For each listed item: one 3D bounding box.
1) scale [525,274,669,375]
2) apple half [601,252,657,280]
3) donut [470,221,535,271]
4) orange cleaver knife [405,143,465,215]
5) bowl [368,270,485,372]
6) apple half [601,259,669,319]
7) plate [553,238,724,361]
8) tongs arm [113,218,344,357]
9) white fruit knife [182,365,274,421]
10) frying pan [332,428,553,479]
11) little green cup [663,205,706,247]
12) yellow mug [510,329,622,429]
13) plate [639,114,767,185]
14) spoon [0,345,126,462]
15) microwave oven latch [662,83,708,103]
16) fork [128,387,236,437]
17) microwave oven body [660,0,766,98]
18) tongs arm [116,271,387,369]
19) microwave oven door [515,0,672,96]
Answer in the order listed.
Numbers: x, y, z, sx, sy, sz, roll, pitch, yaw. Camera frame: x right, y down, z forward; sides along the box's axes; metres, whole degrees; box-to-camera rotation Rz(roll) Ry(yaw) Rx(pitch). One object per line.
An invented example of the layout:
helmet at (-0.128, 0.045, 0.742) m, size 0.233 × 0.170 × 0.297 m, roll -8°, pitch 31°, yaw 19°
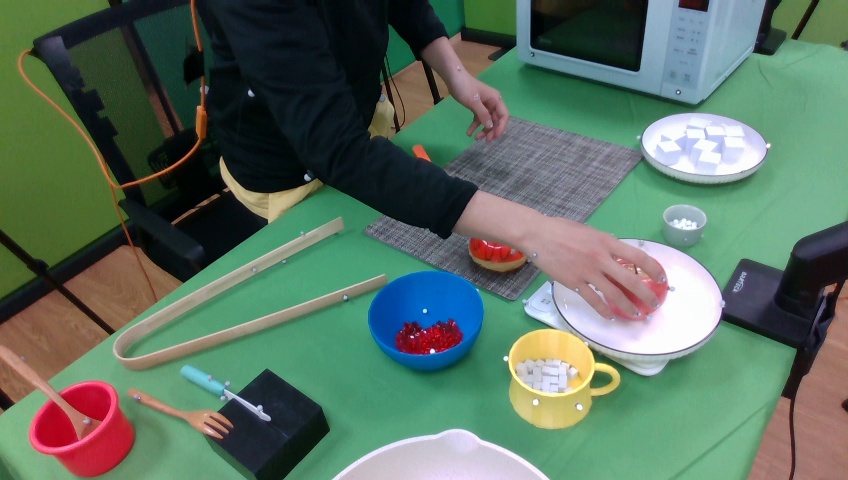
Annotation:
scale at (0.254, 0.092, 0.821) m, size 0.199 × 0.032 × 0.149 m, roll 28°, pitch 51°, yaw 35°
apple half at (0.263, 0.042, 0.784) m, size 0.081 × 0.081 × 0.032 m, roll -8°, pitch 43°, yaw -1°
donut at (0.120, 0.008, 0.923) m, size 0.099 × 0.048 × 0.098 m, roll -4°, pitch 39°, yaw 4°
orange cleaver knife at (0.005, -0.113, 1.102) m, size 0.077 × 0.012 × 0.209 m, roll -24°, pitch 45°, yaw -9°
bowl at (0.007, 0.119, 0.791) m, size 0.151 × 0.077 × 0.150 m, roll -5°, pitch 39°, yaw 4°
apple half at (0.267, 0.068, 0.756) m, size 0.081 × 0.075 × 0.053 m, roll -6°, pitch 43°, yaw -2°
plate at (0.273, 0.078, 0.783) m, size 0.209 × 0.038 × 0.208 m, roll -4°, pitch 41°, yaw 4°
tongs arm at (-0.280, 0.067, 0.927) m, size 0.386 × 0.026 × 0.050 m, roll -28°, pitch 47°, yaw -23°
white fruit knife at (-0.245, 0.188, 0.747) m, size 0.205 × 0.027 × 0.016 m, roll 9°, pitch 40°, yaw 40°
frying pan at (-0.089, 0.306, 0.564) m, size 0.487 × 0.103 × 0.306 m, roll 10°, pitch 41°, yaw 7°
little green cup at (0.396, -0.020, 0.926) m, size 0.061 × 0.039 × 0.061 m, roll -4°, pitch 40°, yaw 4°
yellow mug at (0.168, 0.165, 0.721) m, size 0.130 × 0.064 × 0.099 m, roll 0°, pitch 40°, yaw 8°
plate at (0.489, -0.157, 1.074) m, size 0.207 × 0.039 × 0.206 m, roll -4°, pitch 40°, yaw 4°
spoon at (-0.434, 0.191, 0.720) m, size 0.194 × 0.021 × 0.042 m, roll 47°, pitch 53°, yaw -6°
microwave oven latch at (0.518, -0.296, 1.204) m, size 0.078 × 0.029 × 0.030 m, roll 28°, pitch 52°, yaw 35°
fork at (-0.305, 0.207, 0.744) m, size 0.206 × 0.019 × 0.028 m, roll 3°, pitch 40°, yaw 36°
microwave oven body at (0.472, -0.513, 1.317) m, size 0.438 × 0.261 × 0.327 m, roll 26°, pitch 51°, yaw 34°
tongs arm at (-0.237, 0.112, 0.868) m, size 0.389 × 0.028 × 0.028 m, roll -18°, pitch 47°, yaw -12°
microwave oven door at (0.343, -0.455, 1.259) m, size 0.353 × 0.245 × 0.039 m, roll 26°, pitch 51°, yaw 33°
